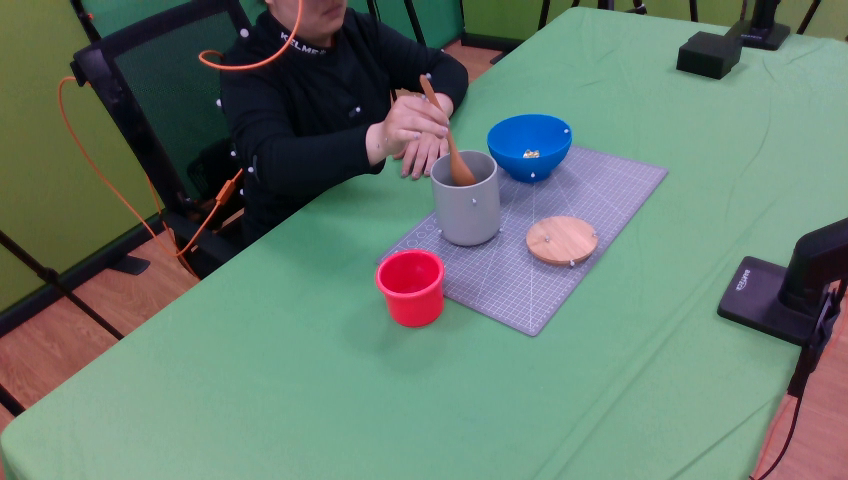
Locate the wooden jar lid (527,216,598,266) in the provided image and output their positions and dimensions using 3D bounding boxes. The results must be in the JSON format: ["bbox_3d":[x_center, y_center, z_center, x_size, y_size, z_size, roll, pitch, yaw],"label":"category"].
[{"bbox_3d":[0.214,0.003,0.937,0.108,0.021,0.108,-4,40,4],"label":"wooden jar lid"}]

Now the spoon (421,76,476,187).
[{"bbox_3d":[0.034,-0.152,0.892,0.041,0.194,0.022,4,37,42],"label":"spoon"}]

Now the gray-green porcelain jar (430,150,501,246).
[{"bbox_3d":[0.069,-0.062,0.959,0.106,0.127,0.105,-5,40,5],"label":"gray-green porcelain jar"}]

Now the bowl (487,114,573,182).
[{"bbox_3d":[0.190,-0.156,1.085,0.151,0.077,0.150,-5,40,5],"label":"bowl"}]
